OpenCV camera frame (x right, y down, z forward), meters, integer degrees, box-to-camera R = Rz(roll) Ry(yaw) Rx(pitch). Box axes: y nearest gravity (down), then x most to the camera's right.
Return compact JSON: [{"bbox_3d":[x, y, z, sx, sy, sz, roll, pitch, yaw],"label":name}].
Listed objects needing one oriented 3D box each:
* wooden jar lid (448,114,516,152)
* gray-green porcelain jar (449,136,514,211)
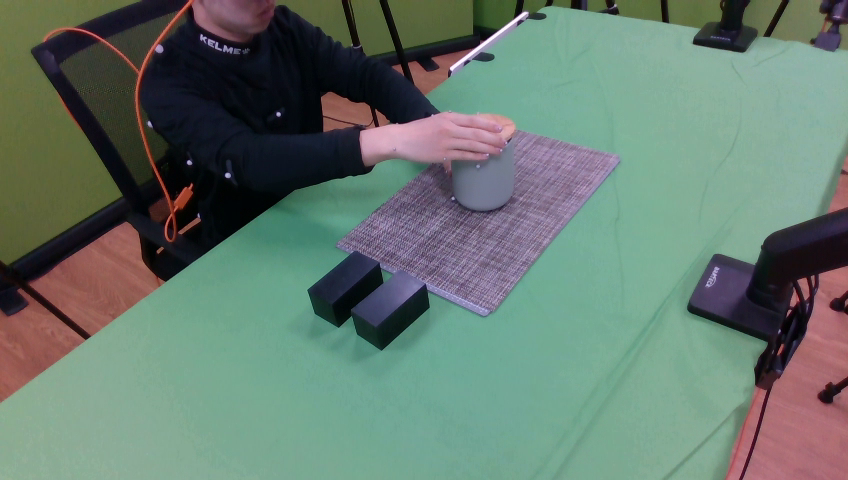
[{"bbox_3d":[0.092,-0.170,0.965,0.108,0.021,0.108,-4,36,4],"label":"wooden jar lid"},{"bbox_3d":[0.097,-0.120,1.009,0.106,0.127,0.105,-4,41,4],"label":"gray-green porcelain jar"}]
